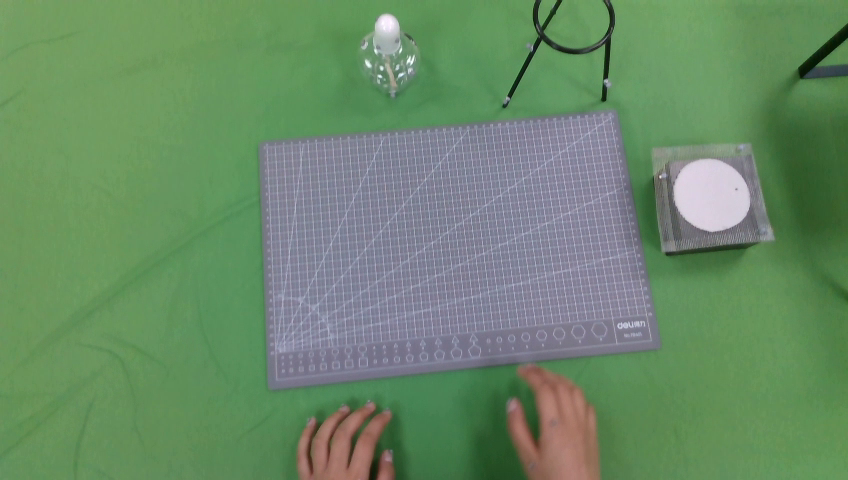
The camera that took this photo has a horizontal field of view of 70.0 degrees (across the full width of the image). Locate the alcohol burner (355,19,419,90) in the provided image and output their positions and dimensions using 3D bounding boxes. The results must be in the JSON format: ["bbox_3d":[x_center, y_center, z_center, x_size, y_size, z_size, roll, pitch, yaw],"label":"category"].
[{"bbox_3d":[-0.044,-0.230,0.721,0.078,0.119,0.077,1,77,-2],"label":"alcohol burner"}]

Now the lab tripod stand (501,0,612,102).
[{"bbox_3d":[0.163,-0.227,0.714,0.148,0.132,0.147,1,75,-2],"label":"lab tripod stand"}]

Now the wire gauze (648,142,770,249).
[{"bbox_3d":[0.321,-0.053,0.689,0.121,0.011,0.124,-3,76,1],"label":"wire gauze"}]

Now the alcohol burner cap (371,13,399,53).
[{"bbox_3d":[-0.044,-0.237,0.688,0.034,0.048,0.033,1,81,-4],"label":"alcohol burner cap"}]
